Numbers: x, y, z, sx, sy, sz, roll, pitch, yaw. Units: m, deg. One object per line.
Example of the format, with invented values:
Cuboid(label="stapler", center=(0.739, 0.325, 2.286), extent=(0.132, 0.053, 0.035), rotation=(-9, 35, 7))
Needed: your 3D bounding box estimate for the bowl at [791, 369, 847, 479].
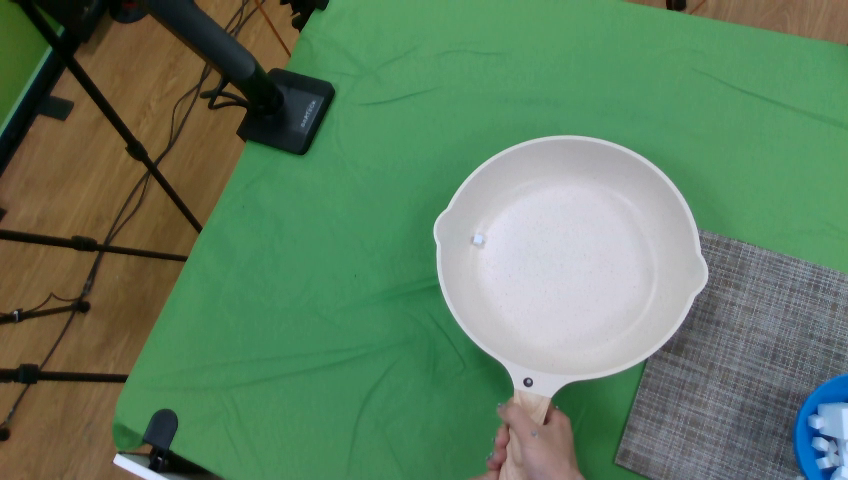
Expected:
Cuboid(label="bowl", center=(0.445, 0.209, 0.613), extent=(0.151, 0.077, 0.150), rotation=(-4, 71, 11))

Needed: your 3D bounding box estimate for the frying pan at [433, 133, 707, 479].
Cuboid(label="frying pan", center=(0.131, 0.107, 0.671), extent=(0.305, 0.103, 0.485), rotation=(12, 65, 16))
